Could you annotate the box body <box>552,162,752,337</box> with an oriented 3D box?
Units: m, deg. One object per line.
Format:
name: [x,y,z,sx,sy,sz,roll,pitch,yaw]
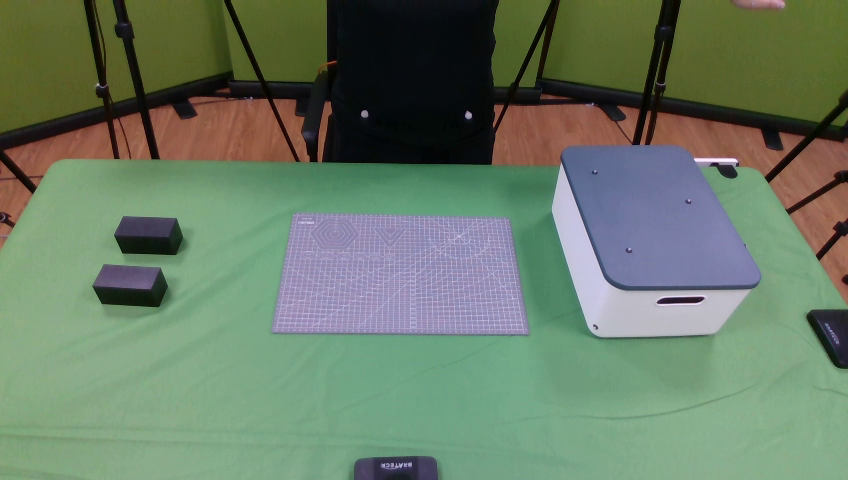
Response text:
box body: [0.401,-0.001,1.131,0.254,0.161,0.361,-1,46,-5]

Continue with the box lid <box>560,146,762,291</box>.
box lid: [0.404,-0.052,1.076,0.263,0.015,0.369,-1,45,-5]
